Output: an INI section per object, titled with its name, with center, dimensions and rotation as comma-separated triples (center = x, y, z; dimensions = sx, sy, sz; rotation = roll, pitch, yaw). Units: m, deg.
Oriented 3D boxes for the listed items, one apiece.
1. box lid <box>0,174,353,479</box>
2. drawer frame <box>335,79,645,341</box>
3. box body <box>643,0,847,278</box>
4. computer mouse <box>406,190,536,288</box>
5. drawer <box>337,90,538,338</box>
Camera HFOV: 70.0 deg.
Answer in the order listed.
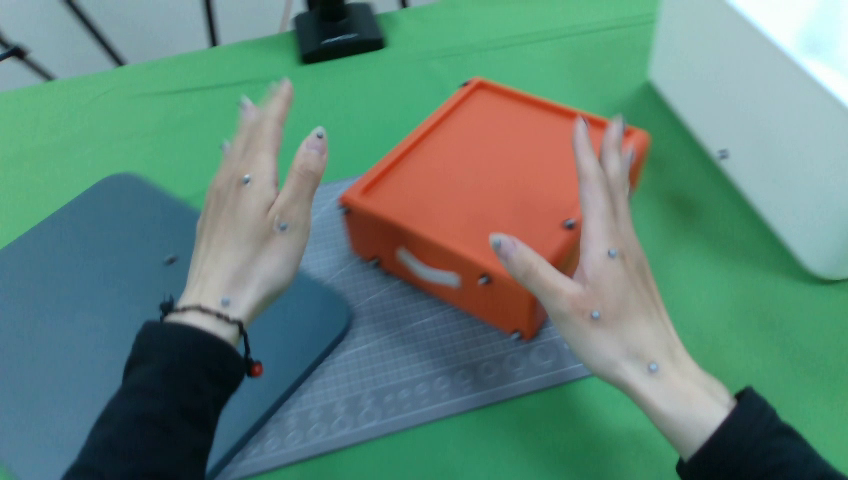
[box lid]
center = -0.272, 0.074, 0.546
dimensions = 0.368, 0.015, 0.262
rotation = 26, 56, 27
[drawer frame]
center = 0.064, -0.043, 0.564
dimensions = 0.200, 0.083, 0.213
rotation = 25, 54, 26
[box body]
center = 0.403, -0.156, 0.579
dimensions = 0.254, 0.162, 0.360
rotation = -13, 48, -6
[computer mouse]
center = 0.043, -0.005, 0.553
dimensions = 0.116, 0.041, 0.062
rotation = 29, 53, 20
[drawer]
center = 0.063, -0.039, 0.564
dimensions = 0.193, 0.074, 0.211
rotation = 25, 54, 26
